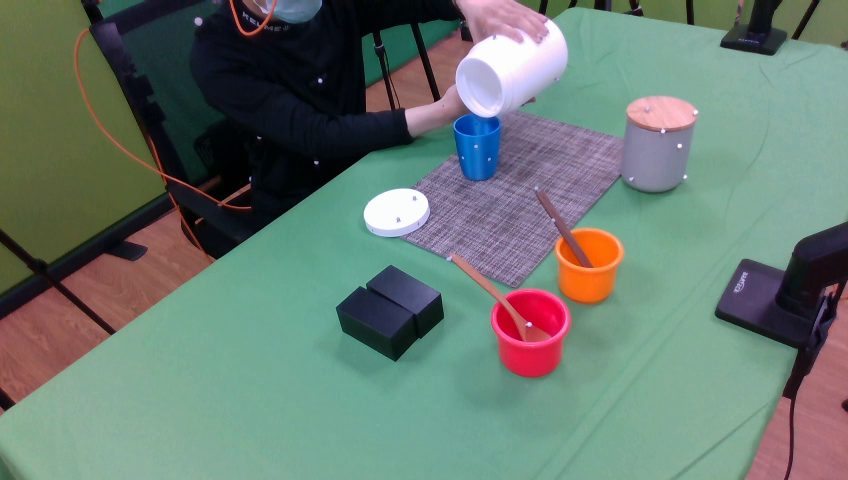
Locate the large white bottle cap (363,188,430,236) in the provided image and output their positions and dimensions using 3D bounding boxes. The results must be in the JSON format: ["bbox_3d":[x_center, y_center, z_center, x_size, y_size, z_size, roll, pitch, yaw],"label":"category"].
[{"bbox_3d":[-0.048,-0.050,1.040,0.115,0.018,0.114,-7,41,6],"label":"large white bottle cap"}]

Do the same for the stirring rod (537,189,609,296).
[{"bbox_3d":[0.210,0.003,0.855,0.014,0.006,0.176,-32,89,-30],"label":"stirring rod"}]

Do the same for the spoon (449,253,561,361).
[{"bbox_3d":[0.103,0.083,0.770,0.194,0.021,0.042,47,52,-7],"label":"spoon"}]

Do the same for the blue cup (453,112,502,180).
[{"bbox_3d":[0.097,-0.165,1.088,0.092,0.100,0.092,-3,39,3],"label":"blue cup"}]

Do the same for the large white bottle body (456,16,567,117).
[{"bbox_3d":[0.155,-0.307,1.079,0.129,0.131,0.185,27,51,34],"label":"large white bottle body"}]

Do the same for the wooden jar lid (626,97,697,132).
[{"bbox_3d":[0.381,-0.198,0.976,0.108,0.021,0.108,-2,40,3],"label":"wooden jar lid"}]

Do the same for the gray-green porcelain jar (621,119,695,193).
[{"bbox_3d":[0.389,-0.152,1.016,0.106,0.127,0.105,-4,40,4],"label":"gray-green porcelain jar"}]
